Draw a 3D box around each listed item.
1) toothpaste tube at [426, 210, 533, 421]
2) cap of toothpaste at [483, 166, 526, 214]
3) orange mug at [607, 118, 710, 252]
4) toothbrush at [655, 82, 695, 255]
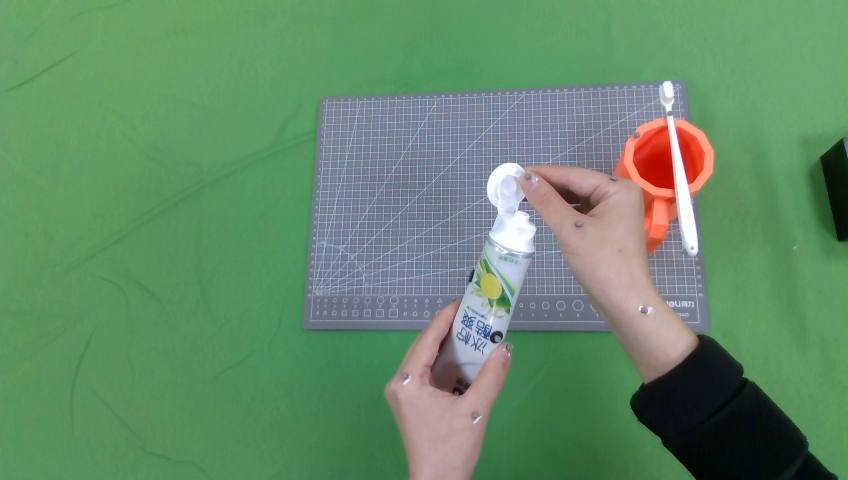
[{"bbox_3d":[0.043,0.053,0.449,0.054,0.035,0.166,30,113,34],"label":"toothpaste tube"},{"bbox_3d":[0.059,-0.035,0.434,0.037,0.038,0.011,-48,31,-7],"label":"cap of toothpaste"},{"bbox_3d":[0.244,-0.054,0.644,0.083,0.101,0.125,8,71,10],"label":"orange mug"},{"bbox_3d":[0.246,-0.074,0.594,0.014,0.017,0.181,-3,75,3],"label":"toothbrush"}]
